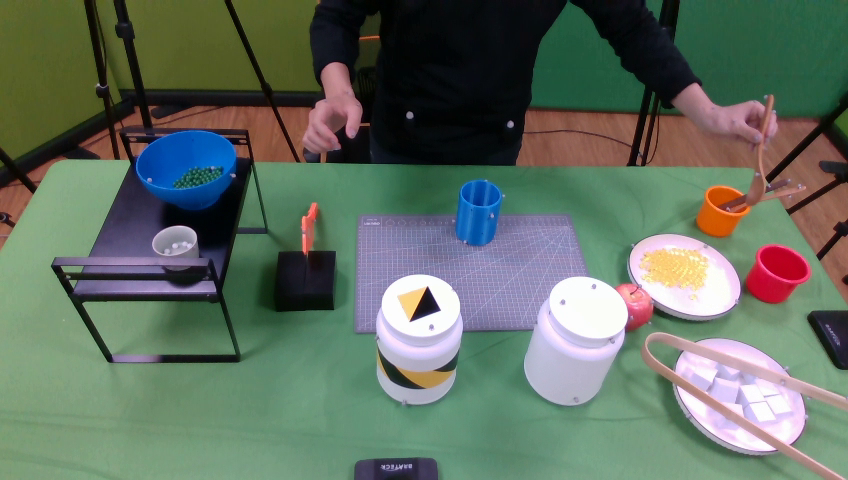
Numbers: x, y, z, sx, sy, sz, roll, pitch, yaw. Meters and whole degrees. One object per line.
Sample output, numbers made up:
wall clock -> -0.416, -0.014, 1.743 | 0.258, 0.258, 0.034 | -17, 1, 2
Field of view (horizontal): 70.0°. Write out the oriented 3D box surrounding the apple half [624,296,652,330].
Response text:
apple half -> 0.368, 0.135, 1.060 | 0.081, 0.081, 0.032 | -11, 43, -14

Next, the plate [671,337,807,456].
plate -> 0.504, 0.254, 0.984 | 0.208, 0.039, 0.206 | 2, 46, -2

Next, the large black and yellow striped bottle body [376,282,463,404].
large black and yellow striped bottle body -> -0.010, 0.155, 0.937 | 0.131, 0.185, 0.130 | 2, 47, -2

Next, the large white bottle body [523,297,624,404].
large white bottle body -> 0.235, 0.159, 0.952 | 0.131, 0.185, 0.130 | 2, 47, -2

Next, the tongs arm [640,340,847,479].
tongs arm -> 0.500, 0.277, 0.919 | 0.386, 0.028, 0.028 | 34, 59, 22

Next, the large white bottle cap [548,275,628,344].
large white bottle cap -> 0.240, 0.100, 0.890 | 0.115, 0.018, 0.114 | 3, 47, -3

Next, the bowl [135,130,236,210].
bowl -> -0.375, -0.102, 0.978 | 0.151, 0.077, 0.150 | 2, 46, -2

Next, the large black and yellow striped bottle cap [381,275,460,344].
large black and yellow striped bottle cap -> -0.005, 0.098, 0.875 | 0.115, 0.019, 0.114 | 2, 45, -2

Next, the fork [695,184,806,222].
fork -> 0.658, -0.074, 1.230 | 0.207, 0.019, 0.028 | -24, 33, 36

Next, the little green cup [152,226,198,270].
little green cup -> -0.364, 0.013, 0.894 | 0.061, 0.039, 0.061 | 3, 46, -3

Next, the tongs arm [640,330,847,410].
tongs arm -> 0.543, 0.225, 0.969 | 0.384, 0.026, 0.050 | 22, 52, 13

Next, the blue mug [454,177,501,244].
blue mug -> 0.106, -0.067, 1.208 | 0.082, 0.106, 0.116 | 6, 46, 1

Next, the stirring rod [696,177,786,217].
stirring rod -> 0.648, -0.087, 1.244 | 0.176, 0.006, 0.014 | -26, 50, 29

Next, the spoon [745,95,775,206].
spoon -> 0.587, -0.154, 1.053 | 0.021, 0.194, 0.041 | 3, 8, -6

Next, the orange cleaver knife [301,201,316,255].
orange cleaver knife -> -0.221, -0.027, 1.160 | 0.012, 0.077, 0.210 | -1, 15, -4

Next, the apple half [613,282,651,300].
apple half -> 0.356, 0.109, 1.086 | 0.081, 0.075, 0.053 | -13, 44, -12

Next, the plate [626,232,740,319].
plate -> 0.489, 0.071, 1.157 | 0.209, 0.038, 0.208 | 3, 46, -2
